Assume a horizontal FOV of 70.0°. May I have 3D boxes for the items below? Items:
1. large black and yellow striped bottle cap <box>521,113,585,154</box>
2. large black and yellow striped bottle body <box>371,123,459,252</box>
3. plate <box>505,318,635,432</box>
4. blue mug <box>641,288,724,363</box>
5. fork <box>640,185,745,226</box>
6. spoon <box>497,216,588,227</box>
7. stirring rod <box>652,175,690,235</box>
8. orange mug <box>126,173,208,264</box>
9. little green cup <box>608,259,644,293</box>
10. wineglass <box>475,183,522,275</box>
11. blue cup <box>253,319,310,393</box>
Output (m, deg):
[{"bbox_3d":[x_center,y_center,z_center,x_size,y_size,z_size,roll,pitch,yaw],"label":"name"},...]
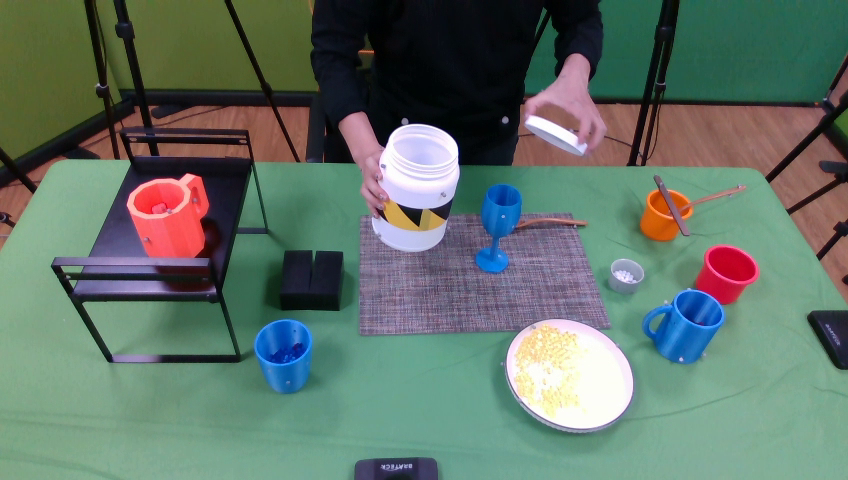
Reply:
[{"bbox_3d":[0.218,-0.181,1.026,0.115,0.019,0.115,29,6,-3],"label":"large black and yellow striped bottle cap"},{"bbox_3d":[-0.016,-0.086,0.992,0.131,0.185,0.130,6,45,-6],"label":"large black and yellow striped bottle body"},{"bbox_3d":[0.235,0.221,0.991,0.209,0.038,0.208,2,45,-2],"label":"plate"},{"bbox_3d":[0.432,0.144,1.033,0.116,0.106,0.082,9,46,5],"label":"blue mug"},{"bbox_3d":[0.534,-0.069,1.215,0.207,0.019,0.028,-26,28,33],"label":"fork"},{"bbox_3d":[0.245,-0.039,1.247,0.194,0.022,0.041,-1,26,-6],"label":"spoon"},{"bbox_3d":[0.492,-0.072,1.211,0.014,0.006,0.175,-1,46,-6],"label":"stirring rod"},{"bbox_3d":[-0.371,-0.040,0.902,0.083,0.101,0.126,18,52,13],"label":"orange mug"},{"bbox_3d":[0.379,0.070,1.147,0.061,0.039,0.061,3,45,-2],"label":"little green cup"},{"bbox_3d":[0.135,-0.020,1.115,0.074,0.173,0.073,2,46,-2],"label":"wineglass"},{"bbox_3d":[-0.217,0.187,0.943,0.093,0.101,0.092,4,45,-3],"label":"blue cup"}]
